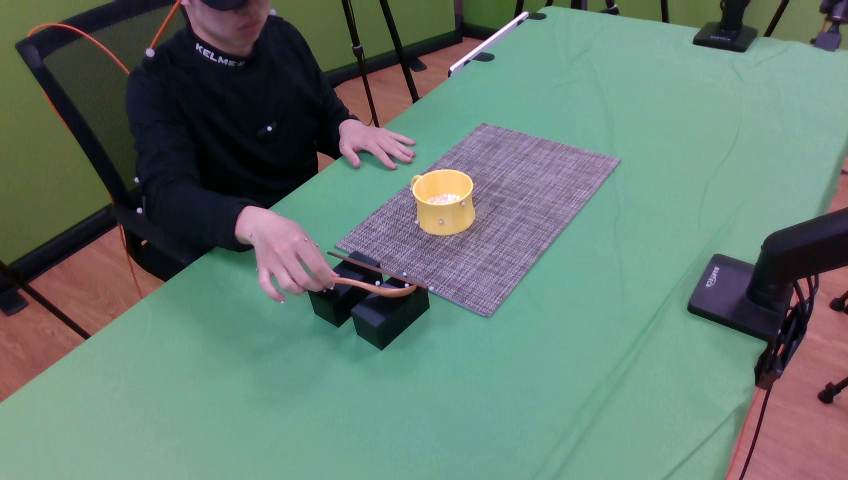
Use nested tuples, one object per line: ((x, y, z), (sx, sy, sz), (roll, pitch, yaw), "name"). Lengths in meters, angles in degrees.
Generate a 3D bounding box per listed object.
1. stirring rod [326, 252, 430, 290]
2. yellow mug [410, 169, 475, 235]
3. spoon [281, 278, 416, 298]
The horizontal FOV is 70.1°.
((-0.068, 0.042, 0.858), (0.175, 0.006, 0.014), (17, 8, 26), "stirring rod")
((0.022, -0.069, 1.007), (0.100, 0.064, 0.129), (-36, 47, -30), "yellow mug")
((-0.105, 0.061, 0.827), (0.193, 0.021, 0.042), (6, 5, 14), "spoon")
